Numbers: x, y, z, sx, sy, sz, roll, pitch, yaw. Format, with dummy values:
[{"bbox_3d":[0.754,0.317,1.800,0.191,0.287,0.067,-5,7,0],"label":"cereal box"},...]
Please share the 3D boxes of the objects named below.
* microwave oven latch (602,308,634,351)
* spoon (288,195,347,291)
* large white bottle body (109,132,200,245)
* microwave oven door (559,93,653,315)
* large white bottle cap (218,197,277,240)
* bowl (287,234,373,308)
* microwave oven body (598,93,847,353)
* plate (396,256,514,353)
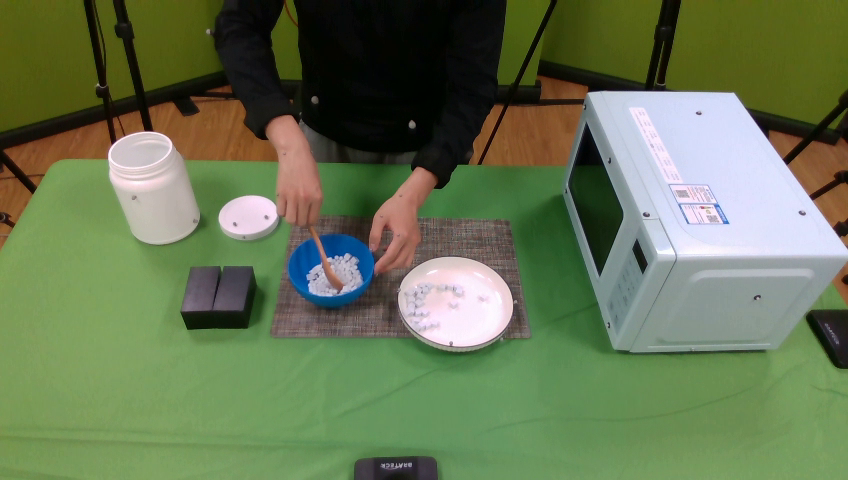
[{"bbox_3d":[0.332,0.153,1.044,0.030,0.029,0.078,-1,45,-4],"label":"microwave oven latch"},{"bbox_3d":[-0.188,0.006,1.063,0.021,0.041,0.193,-26,88,-27],"label":"spoon"},{"bbox_3d":[-0.506,-0.097,1.141,0.131,0.185,0.130,2,46,-2],"label":"large white bottle body"},{"bbox_3d":[0.327,-0.074,1.123,0.039,0.245,0.353,-1,46,-5],"label":"microwave oven door"},{"bbox_3d":[-0.355,-0.045,1.220,0.115,0.018,0.114,2,45,-2],"label":"large white bottle cap"},{"bbox_3d":[-0.165,0.069,1.078,0.151,0.077,0.150,3,45,-3],"label":"bowl"},{"bbox_3d":[0.475,-0.041,1.109,0.326,0.261,0.438,-1,45,-4],"label":"microwave oven body"},{"bbox_3d":[0.053,0.116,1.077,0.209,0.038,0.208,2,46,-2],"label":"plate"}]
